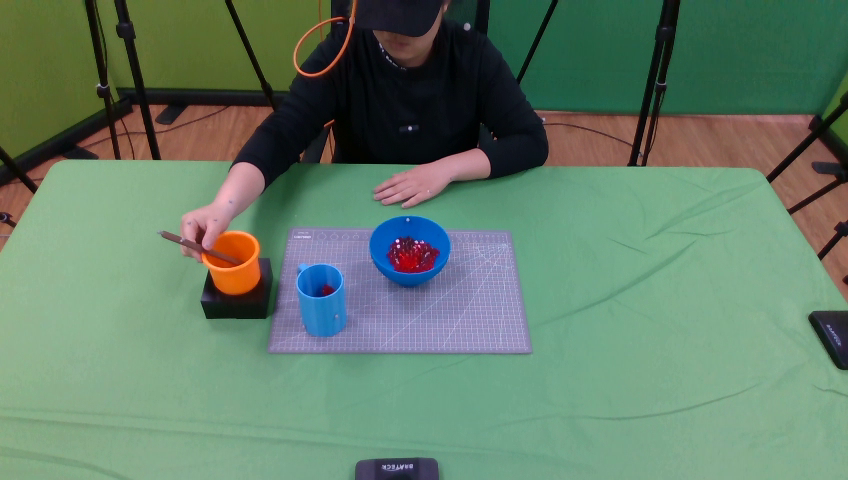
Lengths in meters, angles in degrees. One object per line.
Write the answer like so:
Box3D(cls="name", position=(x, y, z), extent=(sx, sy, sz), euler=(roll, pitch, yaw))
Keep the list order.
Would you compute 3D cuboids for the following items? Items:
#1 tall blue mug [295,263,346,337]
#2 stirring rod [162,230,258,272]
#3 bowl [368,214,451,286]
Box3D(cls="tall blue mug", position=(-0.187, 0.096, 1.027), extent=(0.107, 0.108, 0.077), euler=(21, 49, 16))
Box3D(cls="stirring rod", position=(-0.349, 0.020, 1.002), extent=(0.177, 0.006, 0.014), euler=(28, 26, -41))
Box3D(cls="bowl", position=(-0.027, 0.032, 1.122), extent=(0.151, 0.077, 0.150), euler=(2, 46, -2))
